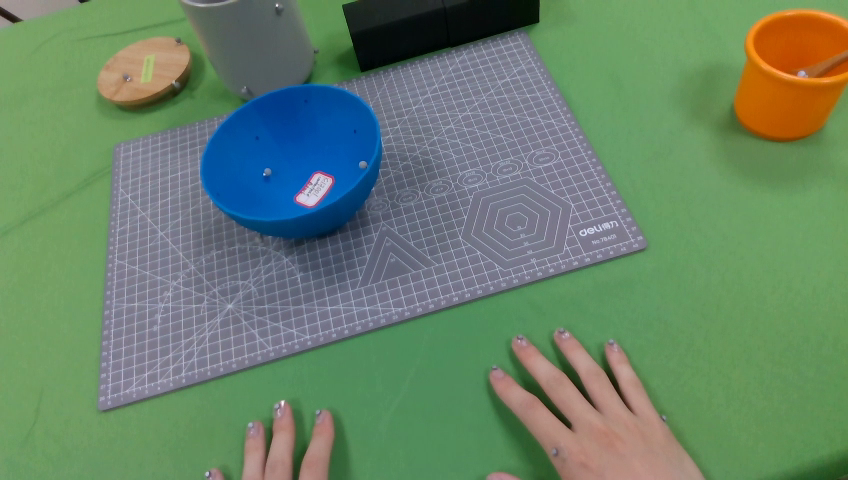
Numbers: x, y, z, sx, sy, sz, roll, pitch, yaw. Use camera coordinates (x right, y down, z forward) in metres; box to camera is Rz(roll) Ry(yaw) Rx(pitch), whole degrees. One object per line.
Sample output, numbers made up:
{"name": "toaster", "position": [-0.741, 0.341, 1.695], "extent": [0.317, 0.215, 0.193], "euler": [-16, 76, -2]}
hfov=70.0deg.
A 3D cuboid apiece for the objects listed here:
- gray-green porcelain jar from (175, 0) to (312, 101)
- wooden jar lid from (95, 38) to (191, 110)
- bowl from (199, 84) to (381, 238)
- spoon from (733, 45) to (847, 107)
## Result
{"name": "gray-green porcelain jar", "position": [-0.177, -0.214, 0.616], "extent": [0.106, 0.128, 0.105], "euler": [-5, 55, 7]}
{"name": "wooden jar lid", "position": [-0.315, -0.187, 0.687], "extent": [0.108, 0.021, 0.107], "euler": [-3, 56, 5]}
{"name": "bowl", "position": [-0.104, -0.054, 0.522], "extent": [0.151, 0.077, 0.150], "euler": [-4, 55, 7]}
{"name": "spoon", "position": [0.337, -0.147, 0.471], "extent": [0.022, 0.193, 0.041], "euler": [39, 61, -18]}
